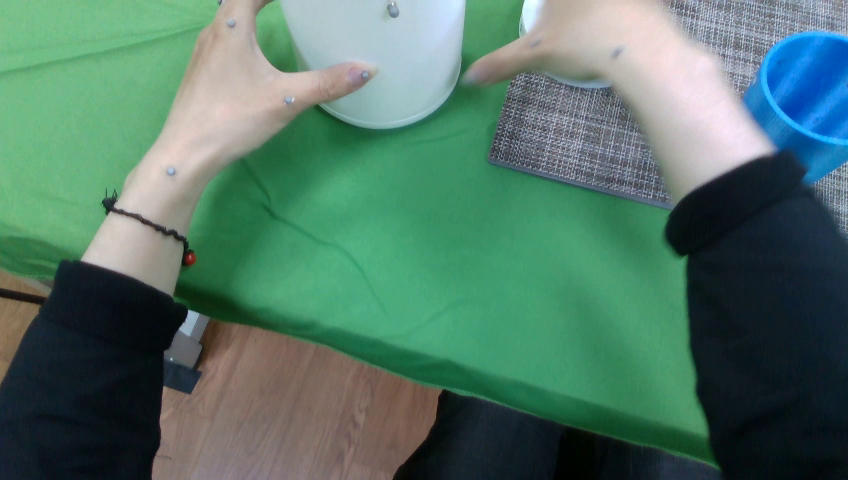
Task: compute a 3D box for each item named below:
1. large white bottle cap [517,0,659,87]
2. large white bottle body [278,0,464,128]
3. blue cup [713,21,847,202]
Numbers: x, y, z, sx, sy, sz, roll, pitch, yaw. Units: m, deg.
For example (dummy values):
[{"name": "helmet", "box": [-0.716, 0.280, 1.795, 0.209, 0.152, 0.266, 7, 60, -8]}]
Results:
[{"name": "large white bottle cap", "box": [0.135, -0.178, 0.500, 0.115, 0.018, 0.114, 1, 67, -1]}, {"name": "large white bottle body", "box": [-0.037, -0.179, 0.413, 0.130, 0.186, 0.129, 0, 67, 0]}, {"name": "blue cup", "box": [0.247, -0.075, 0.414, 0.092, 0.101, 0.092, 0, 66, 1]}]
